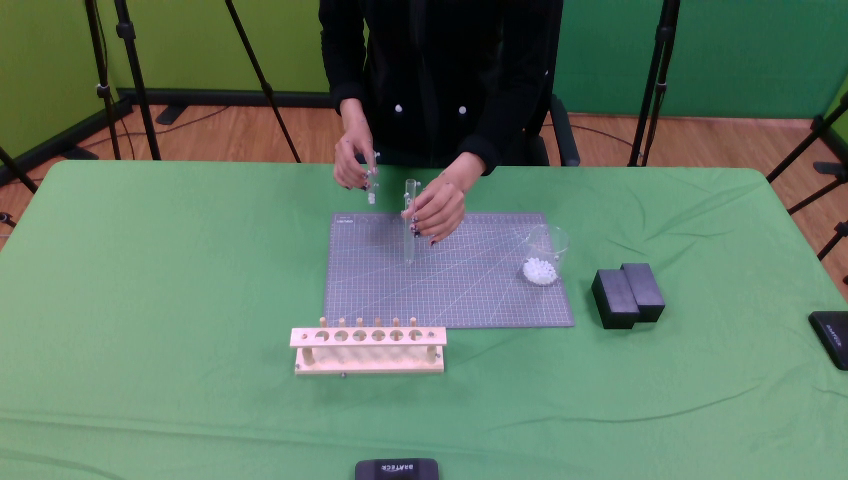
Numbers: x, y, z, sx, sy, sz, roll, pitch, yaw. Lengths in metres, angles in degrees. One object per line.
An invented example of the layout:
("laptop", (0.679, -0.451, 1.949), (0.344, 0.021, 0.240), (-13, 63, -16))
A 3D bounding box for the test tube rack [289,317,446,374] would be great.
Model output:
("test tube rack", (-0.089, 0.167, 0.987), (0.242, 0.085, 0.066), (0, 46, -4))

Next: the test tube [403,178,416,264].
("test tube", (-0.023, -0.026, 0.942), (0.017, 0.151, 0.017), (2, 32, -1))

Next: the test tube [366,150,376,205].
("test tube", (-0.098, -0.112, 1.119), (0.017, 0.151, 0.017), (3, 56, -4))

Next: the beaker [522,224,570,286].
("beaker", (0.221, 0.032, 1.129), (0.084, 0.101, 0.073), (-6, 46, -9))
